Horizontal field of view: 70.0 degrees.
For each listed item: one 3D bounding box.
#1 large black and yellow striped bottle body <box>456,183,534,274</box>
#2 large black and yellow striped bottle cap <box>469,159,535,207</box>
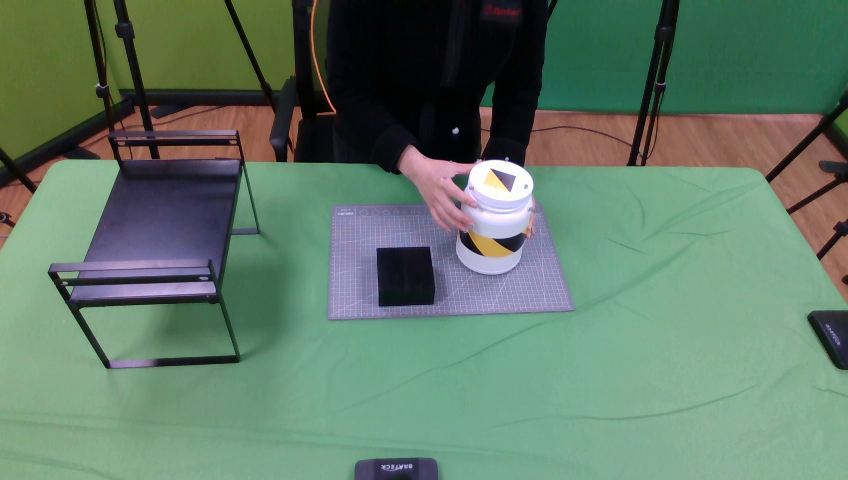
[{"bbox_3d":[0.131,-0.040,1.126,0.131,0.185,0.130,2,46,-2],"label":"large black and yellow striped bottle body"},{"bbox_3d":[0.137,-0.101,1.064,0.115,0.019,0.114,3,44,-3],"label":"large black and yellow striped bottle cap"}]
